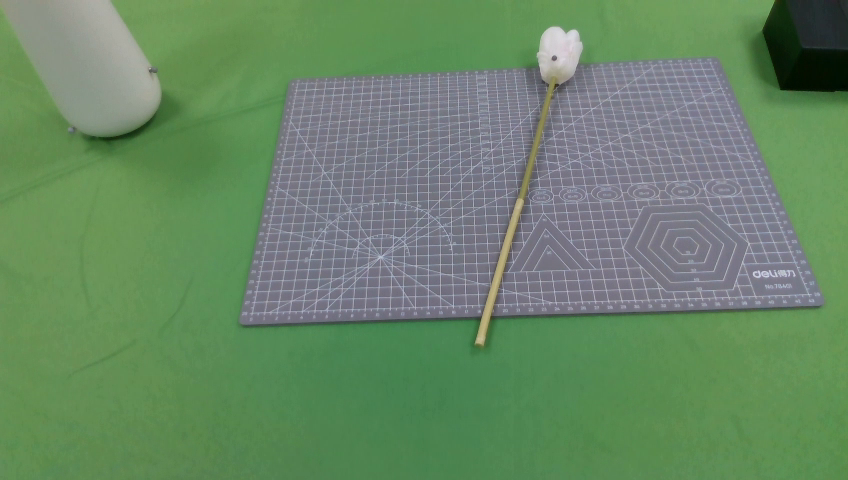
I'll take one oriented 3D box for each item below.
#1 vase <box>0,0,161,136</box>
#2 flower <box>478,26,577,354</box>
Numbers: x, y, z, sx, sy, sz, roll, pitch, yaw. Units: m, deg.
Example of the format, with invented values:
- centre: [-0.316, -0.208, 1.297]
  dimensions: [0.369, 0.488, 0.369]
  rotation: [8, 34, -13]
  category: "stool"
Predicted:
- centre: [-0.323, -0.193, 0.559]
  dimensions: [0.098, 0.202, 0.097]
  rotation: [-2, 52, 2]
  category: "vase"
- centre: [0.093, -0.064, 0.546]
  dimensions: [0.044, 0.038, 0.359]
  rotation: [29, 59, -20]
  category: "flower"
